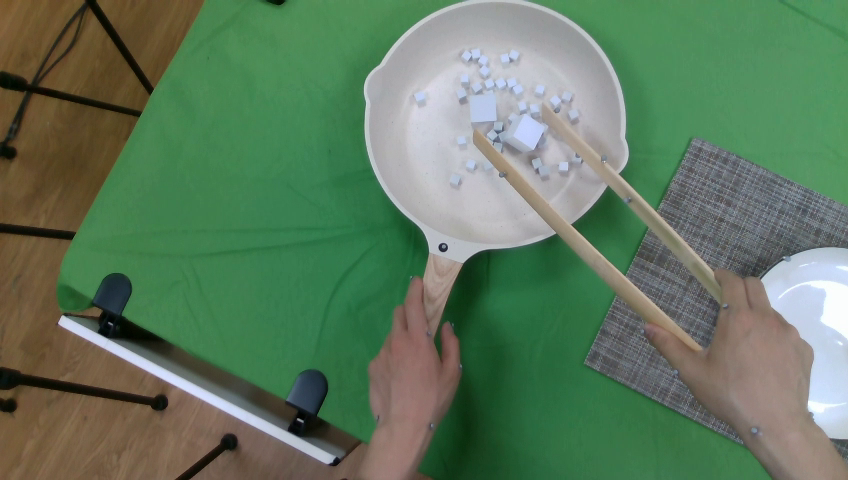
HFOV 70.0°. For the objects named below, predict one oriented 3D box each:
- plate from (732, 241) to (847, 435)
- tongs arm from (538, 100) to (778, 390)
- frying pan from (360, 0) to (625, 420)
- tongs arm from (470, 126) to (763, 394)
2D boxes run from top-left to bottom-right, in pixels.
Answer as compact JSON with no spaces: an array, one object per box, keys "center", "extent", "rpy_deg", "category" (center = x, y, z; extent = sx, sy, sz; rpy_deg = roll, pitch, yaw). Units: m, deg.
[{"center":[0.442,0.105,0.665],"extent":[0.207,0.039,0.207],"rpy_deg":[-1,82,4],"category":"plate"},{"center":[0.205,-0.020,0.605],"extent":[0.051,0.027,0.380],"rpy_deg":[-23,54,-16],"category":"tongs arm"},{"center":[0.040,-0.039,0.680],"extent":[0.306,0.103,0.486],"rpy_deg":[19,75,7],"category":"frying pan"},{"center":[0.158,0.000,0.592],"extent":[0.028,0.028,0.383],"rpy_deg":[-24,54,-22],"category":"tongs arm"}]
